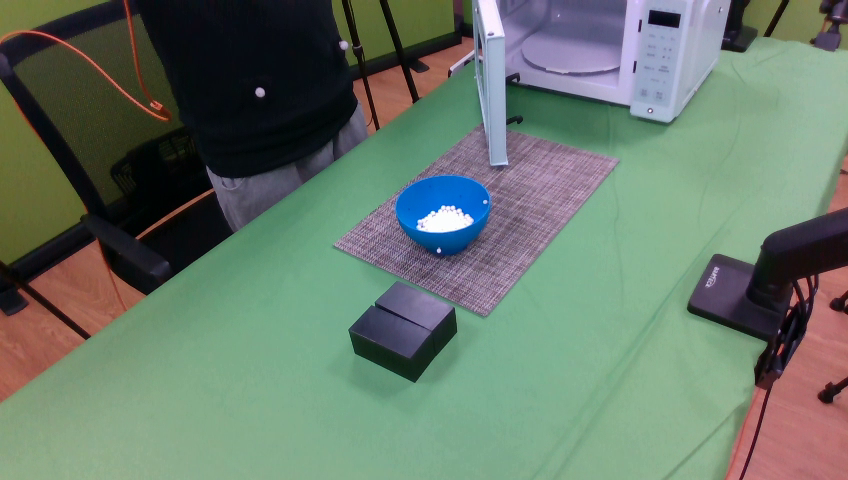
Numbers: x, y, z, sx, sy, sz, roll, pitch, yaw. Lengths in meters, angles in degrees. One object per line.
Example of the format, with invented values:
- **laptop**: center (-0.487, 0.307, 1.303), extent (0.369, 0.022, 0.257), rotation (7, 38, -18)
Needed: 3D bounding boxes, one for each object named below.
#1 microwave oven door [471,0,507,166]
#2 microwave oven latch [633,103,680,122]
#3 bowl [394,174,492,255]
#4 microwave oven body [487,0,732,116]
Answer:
- **microwave oven door**: center (0.121, -0.340, 1.153), extent (0.039, 0.245, 0.354), rotation (-5, 40, 3)
- **microwave oven latch**: center (0.443, -0.249, 1.157), extent (0.078, 0.029, 0.030), rotation (21, 48, 30)
- **bowl**: center (0.032, -0.030, 0.949), extent (0.151, 0.077, 0.150), rotation (-4, 40, 4)
- **microwave oven body**: center (0.377, -0.462, 1.267), extent (0.438, 0.261, 0.327), rotation (21, 48, 30)
